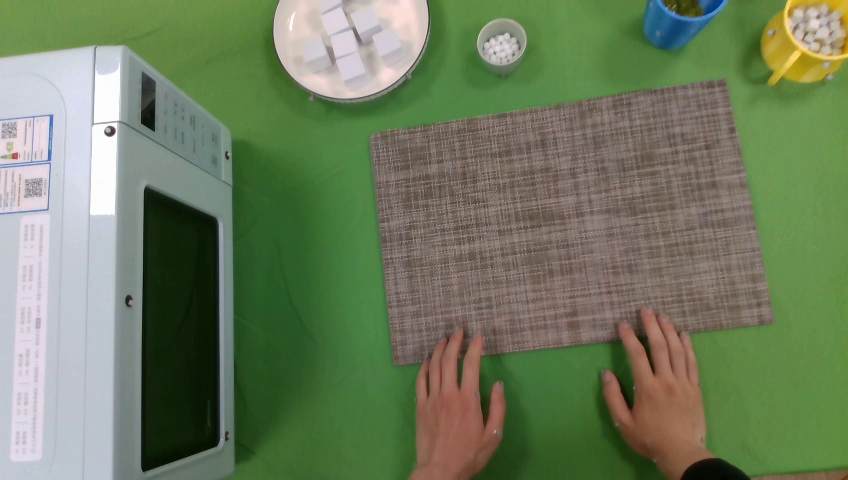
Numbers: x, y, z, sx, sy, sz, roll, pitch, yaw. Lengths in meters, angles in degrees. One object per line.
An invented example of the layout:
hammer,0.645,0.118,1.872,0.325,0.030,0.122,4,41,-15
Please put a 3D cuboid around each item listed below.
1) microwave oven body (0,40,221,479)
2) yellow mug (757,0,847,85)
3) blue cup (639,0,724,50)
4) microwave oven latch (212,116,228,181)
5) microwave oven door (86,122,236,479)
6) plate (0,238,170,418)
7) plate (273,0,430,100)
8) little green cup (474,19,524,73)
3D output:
microwave oven body,-0.415,0.054,0.669,0.326,0.261,0.440,-5,82,5
yellow mug,0.449,-0.236,0.717,0.099,0.064,0.131,41,89,10
blue cup,0.299,-0.277,0.722,0.092,0.100,0.092,-1,83,6
microwave oven latch,-0.267,-0.117,0.775,0.030,0.029,0.079,-3,82,6
microwave oven door,-0.268,0.084,0.643,0.039,0.245,0.354,-5,81,6
plate,-0.395,0.101,0.712,0.209,0.038,0.208,-1,81,6
plate,-0.093,-0.279,0.799,0.207,0.039,0.207,-1,81,6
little green cup,0.096,-0.245,0.772,0.061,0.039,0.061,-1,81,7
